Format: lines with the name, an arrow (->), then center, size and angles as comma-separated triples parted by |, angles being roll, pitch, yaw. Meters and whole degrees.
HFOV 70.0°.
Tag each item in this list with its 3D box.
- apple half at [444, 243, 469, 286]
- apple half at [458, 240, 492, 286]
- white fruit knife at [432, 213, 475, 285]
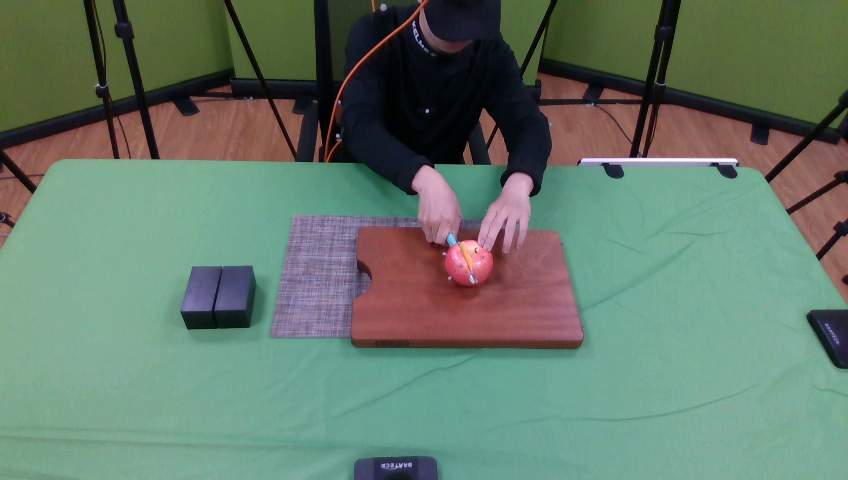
apple half -> 0.053, 0.050, 1.083 | 0.033, 0.082, 0.080 | -16, 49, -12
apple half -> 0.095, 0.042, 1.093 | 0.053, 0.075, 0.080 | -6, 43, -16
white fruit knife -> 0.054, 0.012, 1.113 | 0.016, 0.027, 0.206 | -10, 41, -17
